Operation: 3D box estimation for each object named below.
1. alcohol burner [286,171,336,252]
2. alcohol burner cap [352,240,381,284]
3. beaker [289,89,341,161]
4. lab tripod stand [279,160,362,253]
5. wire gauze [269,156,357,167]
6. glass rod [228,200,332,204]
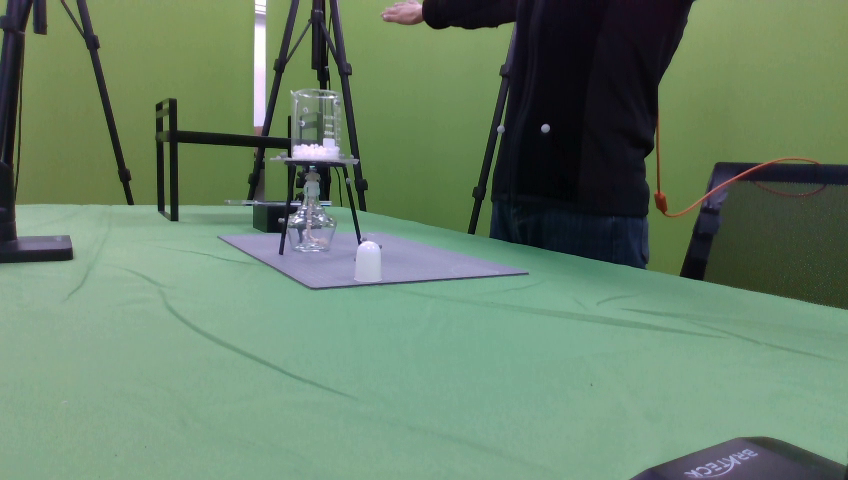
[{"bbox_3d":[-0.170,-0.043,0.898,0.078,0.119,0.078,2,5,0],"label":"alcohol burner"},{"bbox_3d":[-0.065,0.023,0.690,0.034,0.048,0.034,3,9,0],"label":"alcohol burner cap"},{"bbox_3d":[-0.161,-0.164,0.879,0.073,0.100,0.084,6,8,34],"label":"beaker"},{"bbox_3d":[-0.166,-0.052,0.897,0.148,0.131,0.148,0,7,0],"label":"lab tripod stand"},{"bbox_3d":[-0.159,-0.116,0.886,0.122,0.011,0.125,2,4,-9],"label":"wire gauze"},{"bbox_3d":[-0.269,-0.071,1.149,0.201,0.008,0.008,-1,8,-30],"label":"glass rod"}]
